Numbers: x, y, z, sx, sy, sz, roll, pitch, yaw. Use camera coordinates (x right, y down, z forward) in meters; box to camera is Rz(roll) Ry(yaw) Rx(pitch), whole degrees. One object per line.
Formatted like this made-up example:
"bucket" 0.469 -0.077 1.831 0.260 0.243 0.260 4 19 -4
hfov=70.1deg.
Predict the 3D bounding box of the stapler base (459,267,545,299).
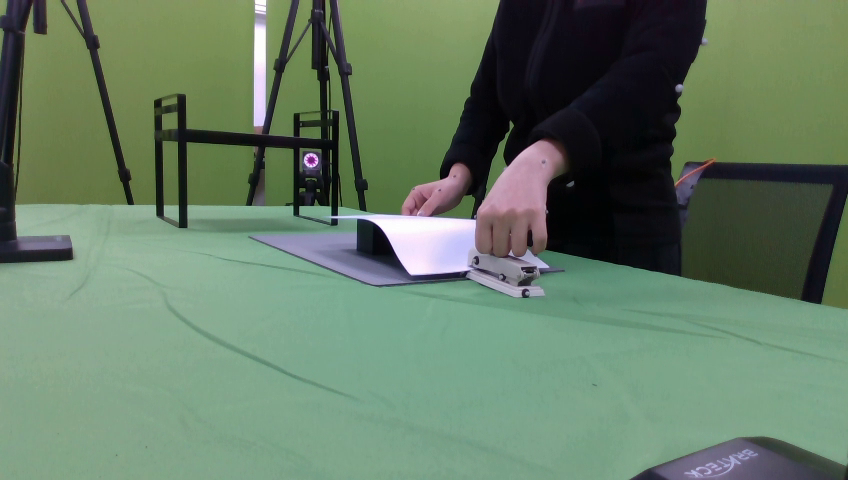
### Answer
"stapler base" 0.087 0.042 0.705 0.041 0.024 0.130 -3 11 -27

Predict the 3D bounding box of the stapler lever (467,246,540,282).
"stapler lever" 0.089 0.027 0.703 0.027 0.040 0.117 -3 1 -27
